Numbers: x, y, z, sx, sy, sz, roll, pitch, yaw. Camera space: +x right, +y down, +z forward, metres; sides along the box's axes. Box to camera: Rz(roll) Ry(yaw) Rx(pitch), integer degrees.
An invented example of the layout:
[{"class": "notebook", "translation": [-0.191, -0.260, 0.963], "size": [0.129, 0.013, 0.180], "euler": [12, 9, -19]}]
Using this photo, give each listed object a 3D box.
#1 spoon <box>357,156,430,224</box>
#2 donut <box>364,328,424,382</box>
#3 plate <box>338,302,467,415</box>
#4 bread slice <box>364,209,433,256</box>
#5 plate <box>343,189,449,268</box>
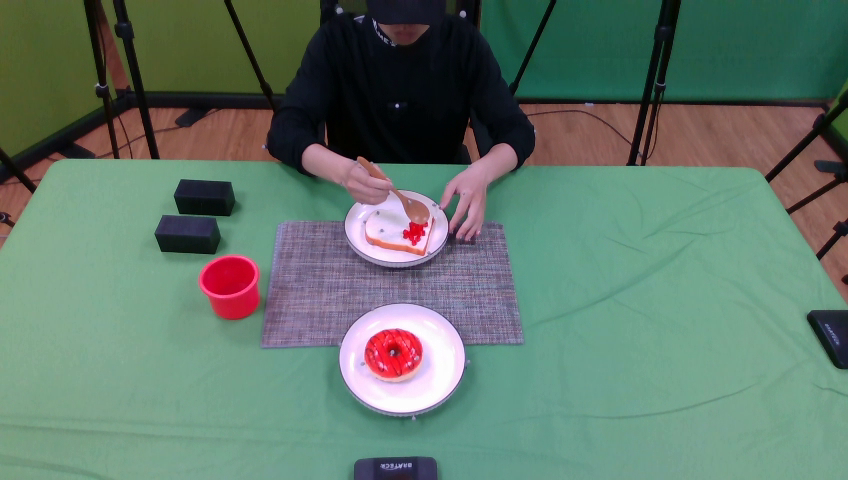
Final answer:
[{"class": "spoon", "translation": [-0.055, -0.092, 1.118], "size": [0.041, 0.195, 0.021], "euler": [-46, 37, 2]}, {"class": "donut", "translation": [-0.049, 0.185, 0.984], "size": [0.099, 0.048, 0.098], "euler": [1, 45, -1]}, {"class": "plate", "translation": [-0.035, 0.194, 0.992], "size": [0.208, 0.039, 0.206], "euler": [2, 48, -2]}, {"class": "bread slice", "translation": [-0.054, -0.019, 1.199], "size": [0.131, 0.019, 0.104], "euler": [11, 46, 3]}, {"class": "plate", "translation": [-0.055, -0.019, 1.195], "size": [0.209, 0.038, 0.208], "euler": [3, 46, -2]}]
